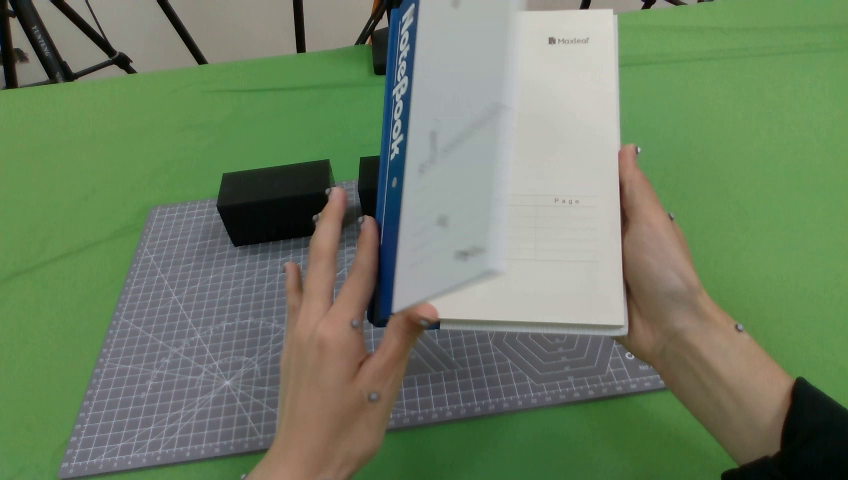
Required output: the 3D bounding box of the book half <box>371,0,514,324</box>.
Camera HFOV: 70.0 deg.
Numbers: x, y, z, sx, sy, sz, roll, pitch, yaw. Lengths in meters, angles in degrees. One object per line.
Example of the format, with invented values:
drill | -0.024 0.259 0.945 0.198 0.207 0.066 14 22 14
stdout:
book half | 0.006 -0.069 0.310 0.007 0.143 0.209 11 72 -23
